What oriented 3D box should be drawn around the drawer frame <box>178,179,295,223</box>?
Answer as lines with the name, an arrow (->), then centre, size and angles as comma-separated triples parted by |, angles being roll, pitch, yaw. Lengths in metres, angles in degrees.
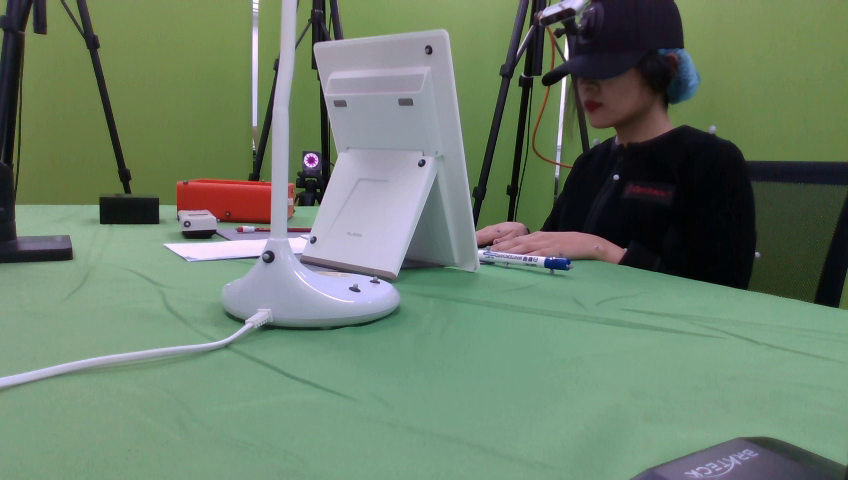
drawer frame -> -0.397, -0.088, 1.315 | 0.214, 0.082, 0.201 | 1, 8, -7

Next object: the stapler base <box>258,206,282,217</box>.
stapler base -> -0.331, -0.064, 1.306 | 0.041, 0.024, 0.130 | 9, -2, -9

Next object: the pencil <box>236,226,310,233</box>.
pencil -> -0.239, -0.017, 1.094 | 0.195, 0.012, 0.012 | 1, 7, -27

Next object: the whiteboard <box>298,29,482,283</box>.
whiteboard -> -0.075, -0.082, 0.742 | 0.216, 0.305, 0.144 | 9, 29, 37

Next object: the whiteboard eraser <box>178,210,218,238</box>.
whiteboard eraser -> -0.380, -0.027, 1.014 | 0.056, 0.042, 0.112 | 0, 8, -25

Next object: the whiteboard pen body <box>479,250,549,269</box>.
whiteboard pen body -> 0.130, 0.028, 0.827 | 0.140, 0.017, 0.017 | 7, 8, 38

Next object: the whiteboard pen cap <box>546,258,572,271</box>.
whiteboard pen cap -> 0.175, 0.032, 0.790 | 0.033, 0.018, 0.018 | 4, 7, 37

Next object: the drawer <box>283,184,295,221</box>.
drawer -> -0.394, -0.086, 1.317 | 0.212, 0.073, 0.194 | 1, 8, -7

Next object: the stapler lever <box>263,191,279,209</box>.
stapler lever -> -0.329, -0.085, 1.306 | 0.027, 0.040, 0.118 | 9, 3, -9

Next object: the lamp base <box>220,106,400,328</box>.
lamp base -> -0.101, -0.023, 0.531 | 0.160, 0.180, 0.179 | 4, 10, 10
